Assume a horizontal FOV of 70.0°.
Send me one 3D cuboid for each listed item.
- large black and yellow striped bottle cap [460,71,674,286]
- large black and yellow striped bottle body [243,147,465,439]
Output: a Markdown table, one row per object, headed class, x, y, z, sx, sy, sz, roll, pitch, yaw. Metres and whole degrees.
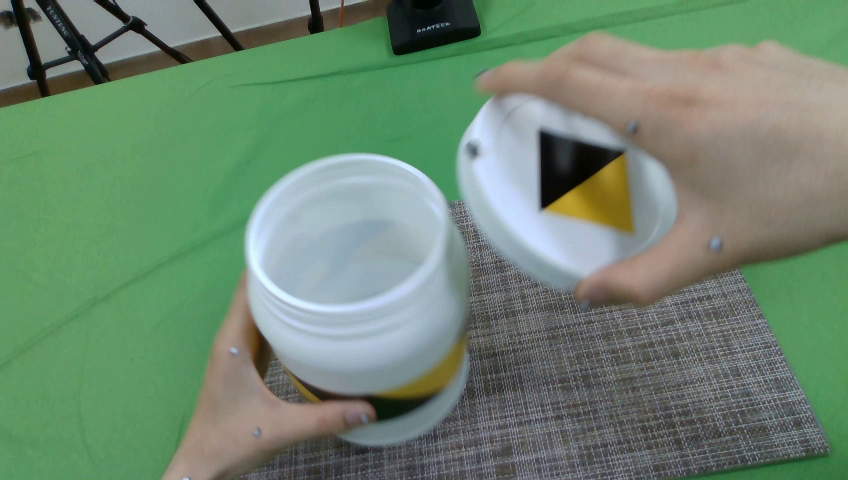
| class | x | y | z | sx | sy | sz | roll | pitch | yaw |
| --- | --- | --- | --- | --- | --- | --- | --- | --- | --- |
| large black and yellow striped bottle cap | 0.073 | -0.033 | 0.301 | 0.115 | 0.019 | 0.114 | 9 | 63 | -19 |
| large black and yellow striped bottle body | -0.038 | 0.041 | 0.396 | 0.131 | 0.185 | 0.129 | -1 | 55 | 2 |
